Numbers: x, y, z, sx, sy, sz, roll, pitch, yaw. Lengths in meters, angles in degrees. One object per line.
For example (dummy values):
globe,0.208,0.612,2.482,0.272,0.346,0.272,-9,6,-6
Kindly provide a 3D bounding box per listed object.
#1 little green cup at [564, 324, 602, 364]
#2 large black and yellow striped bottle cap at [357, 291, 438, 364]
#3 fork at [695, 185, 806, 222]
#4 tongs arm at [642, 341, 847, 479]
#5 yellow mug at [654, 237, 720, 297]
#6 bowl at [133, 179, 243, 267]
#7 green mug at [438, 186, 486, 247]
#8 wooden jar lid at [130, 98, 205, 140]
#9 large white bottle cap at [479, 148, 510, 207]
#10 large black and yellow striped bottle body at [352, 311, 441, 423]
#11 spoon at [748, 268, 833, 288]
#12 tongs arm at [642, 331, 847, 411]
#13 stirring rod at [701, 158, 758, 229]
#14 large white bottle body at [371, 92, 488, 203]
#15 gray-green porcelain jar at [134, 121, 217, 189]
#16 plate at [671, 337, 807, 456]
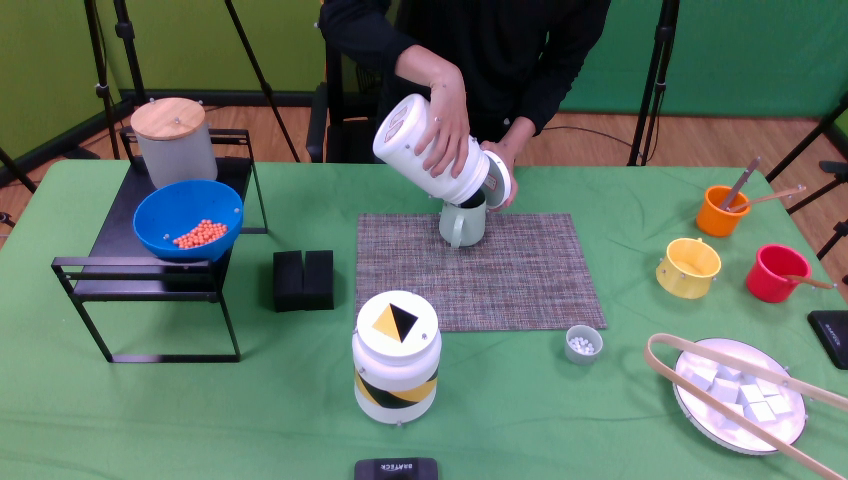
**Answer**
little green cup,0.269,0.179,1.036,0.061,0.039,0.061,2,45,-2
large black and yellow striped bottle cap,-0.037,0.121,0.851,0.115,0.019,0.114,2,46,-1
fork,0.658,-0.074,1.230,0.207,0.019,0.028,-23,36,37
tongs arm,0.504,0.278,0.918,0.386,0.028,0.028,34,59,22
yellow mug,0.509,0.041,1.167,0.099,0.064,0.130,24,48,18
bowl,-0.339,-0.013,0.895,0.151,0.077,0.150,2,46,-2
green mug,0.071,-0.039,1.178,0.092,0.105,0.124,12,47,7
wooden jar lid,-0.393,-0.183,0.934,0.108,0.021,0.107,2,43,-2
large white bottle cap,0.121,-0.120,1.173,0.018,0.115,0.114,-24,52,-33
large black and yellow striped bottle body,-0.042,0.178,0.912,0.131,0.185,0.130,2,46,-2
spoon,0.660,0.068,1.097,0.041,0.193,0.021,-3,91,-6
tongs arm,0.546,0.227,0.968,0.384,0.026,0.050,22,52,13
stirring rod,0.634,-0.096,1.257,0.014,0.006,0.176,38,97,29
large white bottle body,0.014,-0.159,1.081,0.185,0.130,0.130,34,40,-25
gray-green porcelain jar,-0.397,-0.141,0.980,0.106,0.127,0.105,2,47,-2
plate,0.503,0.254,0.984,0.208,0.039,0.206,2,46,-2
